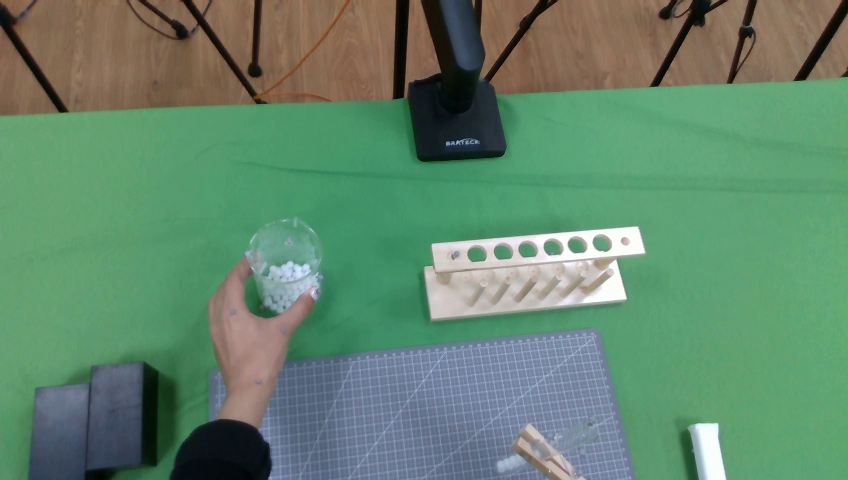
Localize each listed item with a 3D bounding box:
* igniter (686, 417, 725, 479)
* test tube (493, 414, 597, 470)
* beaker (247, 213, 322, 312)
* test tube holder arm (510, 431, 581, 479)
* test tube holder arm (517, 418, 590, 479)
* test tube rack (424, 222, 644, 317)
[{"bbox_3d":[0.318,0.331,0.643,0.057,0.025,0.274,5,68,-16],"label":"igniter"},{"bbox_3d":[0.097,0.174,0.514,0.017,0.151,0.017,12,57,-18],"label":"test tube"},{"bbox_3d":[-0.146,0.028,0.655,0.074,0.101,0.083,11,60,-4],"label":"beaker"},{"bbox_3d":[0.110,0.193,0.512,0.088,0.015,0.010,38,54,0],"label":"test tube holder arm"},{"bbox_3d":[0.147,0.220,0.513,0.178,0.015,0.013,44,55,5],"label":"test tube holder arm"},{"bbox_3d":[0.127,0.035,0.706,0.243,0.085,0.066,-5,69,-9],"label":"test tube rack"}]
